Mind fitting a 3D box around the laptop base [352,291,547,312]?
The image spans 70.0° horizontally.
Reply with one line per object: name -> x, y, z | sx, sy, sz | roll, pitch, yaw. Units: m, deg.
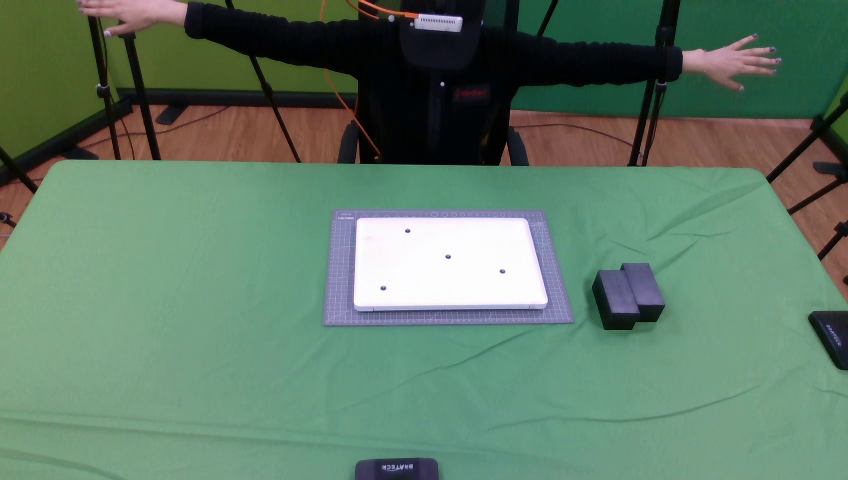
laptop base -> 0.043, 0.044, 1.162 | 0.355, 0.023, 0.234 | 0, 43, -5

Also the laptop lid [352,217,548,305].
laptop lid -> 0.044, 0.034, 1.155 | 0.357, 0.013, 0.240 | 1, 44, -3
